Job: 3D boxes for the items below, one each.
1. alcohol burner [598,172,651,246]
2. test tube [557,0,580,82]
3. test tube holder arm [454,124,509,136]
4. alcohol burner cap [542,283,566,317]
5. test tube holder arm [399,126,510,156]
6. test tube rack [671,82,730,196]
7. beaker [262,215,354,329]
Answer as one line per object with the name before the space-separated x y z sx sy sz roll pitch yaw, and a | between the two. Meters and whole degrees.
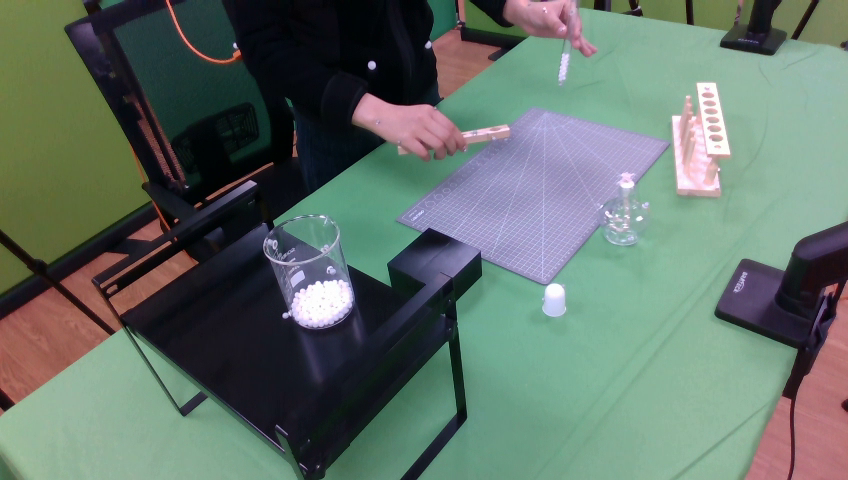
alcohol burner | 0.306 -0.051 0.918 0.078 0.119 0.077 -6 41 5
test tube | 0.241 -0.340 1.003 0.017 0.150 0.017 6 21 -2
test tube holder arm | 0.091 -0.168 0.951 0.088 0.015 0.010 -12 34 -8
alcohol burner cap | 0.181 0.081 0.839 0.034 0.048 0.033 -3 40 3
test tube holder arm | 0.049 -0.155 0.939 0.179 0.015 0.013 -13 34 -10
test tube rack | 0.482 -0.184 1.067 0.066 0.085 0.242 6 42 14
beaker | -0.112 0.034 0.616 0.073 0.101 0.084 13 44 23
